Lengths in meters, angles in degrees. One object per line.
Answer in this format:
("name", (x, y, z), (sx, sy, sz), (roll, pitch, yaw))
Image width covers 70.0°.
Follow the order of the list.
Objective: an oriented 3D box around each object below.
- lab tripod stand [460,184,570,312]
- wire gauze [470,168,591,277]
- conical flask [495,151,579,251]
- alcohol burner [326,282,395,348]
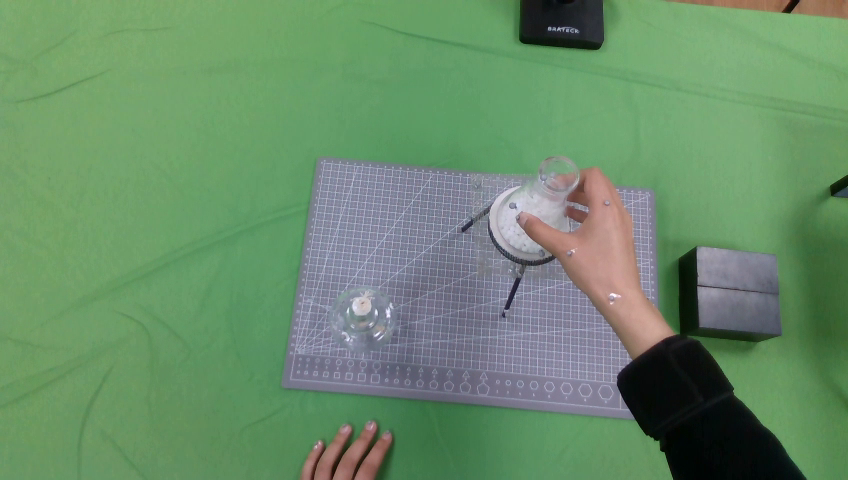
("lab tripod stand", (0.111, -0.002, 0.706), (0.148, 0.132, 0.147), (1, 70, -3))
("wire gauze", (0.112, -0.021, 0.641), (0.125, 0.011, 0.120), (1, 72, -4))
("conical flask", (0.114, -0.041, 0.581), (0.075, 0.122, 0.075), (1, 71, -3))
("alcohol burner", (-0.071, 0.080, 0.679), (0.078, 0.119, 0.077), (2, 70, -5))
